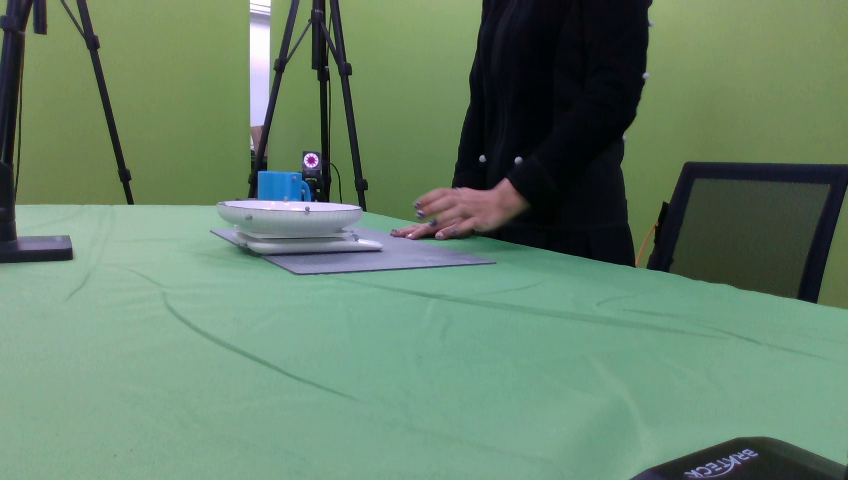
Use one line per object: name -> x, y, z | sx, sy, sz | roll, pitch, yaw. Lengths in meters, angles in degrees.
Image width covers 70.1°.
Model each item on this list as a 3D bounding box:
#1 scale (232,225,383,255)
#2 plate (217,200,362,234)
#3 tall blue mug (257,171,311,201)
scale -> -0.178, -0.004, 0.920 | 0.202, 0.031, 0.148 | -1, 9, -30
plate -> -0.196, -0.035, 0.894 | 0.209, 0.038, 0.209 | 2, 7, 0
tall blue mug -> -0.259, -0.070, 1.107 | 0.078, 0.108, 0.107 | 2, 7, 5
